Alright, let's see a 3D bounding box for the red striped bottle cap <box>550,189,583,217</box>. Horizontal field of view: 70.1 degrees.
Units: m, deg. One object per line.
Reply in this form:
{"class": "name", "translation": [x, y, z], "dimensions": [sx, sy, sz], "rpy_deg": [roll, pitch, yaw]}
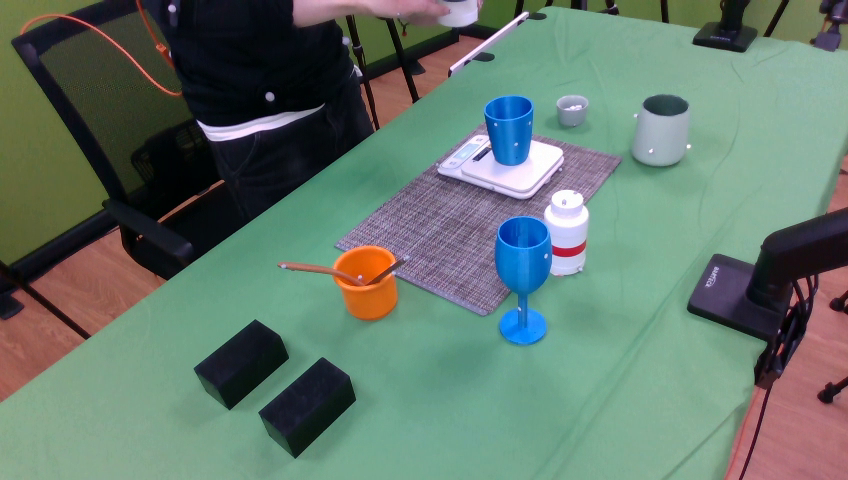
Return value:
{"class": "red striped bottle cap", "translation": [0.199, -0.052, 0.843], "dimensions": [0.044, 0.018, 0.044], "rpy_deg": [-2, 42, 2]}

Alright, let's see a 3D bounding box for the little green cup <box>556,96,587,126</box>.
{"class": "little green cup", "translation": [0.295, -0.258, 1.214], "dimensions": [0.061, 0.039, 0.061], "rpy_deg": [-4, 42, 4]}

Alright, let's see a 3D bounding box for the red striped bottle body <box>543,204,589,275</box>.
{"class": "red striped bottle body", "translation": [0.205, -0.011, 0.877], "dimensions": [0.063, 0.120, 0.062], "rpy_deg": [-4, 41, 4]}

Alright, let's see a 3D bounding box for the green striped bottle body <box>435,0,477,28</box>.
{"class": "green striped bottle body", "translation": [0.044, -0.376, 0.875], "dimensions": [0.063, 0.120, 0.063], "rpy_deg": [-3, 40, 3]}

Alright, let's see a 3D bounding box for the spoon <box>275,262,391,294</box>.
{"class": "spoon", "translation": [-0.120, 0.050, 0.830], "dimensions": [0.041, 0.195, 0.021], "rpy_deg": [32, 97, 45]}

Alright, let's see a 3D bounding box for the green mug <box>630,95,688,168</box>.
{"class": "green mug", "translation": [0.421, -0.201, 1.081], "dimensions": [0.092, 0.105, 0.125], "rpy_deg": [6, 42, 15]}

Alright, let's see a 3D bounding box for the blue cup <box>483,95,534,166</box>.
{"class": "blue cup", "translation": [0.150, -0.186, 1.051], "dimensions": [0.092, 0.101, 0.092], "rpy_deg": [-7, 40, 6]}

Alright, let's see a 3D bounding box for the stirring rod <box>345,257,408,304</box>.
{"class": "stirring rod", "translation": [-0.067, 0.057, 0.814], "dimensions": [0.014, 0.175, 0.006], "rpy_deg": [-25, 82, -38]}

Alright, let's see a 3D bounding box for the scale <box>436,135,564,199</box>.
{"class": "scale", "translation": [0.137, -0.142, 1.101], "dimensions": [0.199, 0.032, 0.149], "rpy_deg": [22, 48, 30]}

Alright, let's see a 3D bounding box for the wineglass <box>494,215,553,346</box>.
{"class": "wineglass", "translation": [0.127, 0.055, 0.770], "dimensions": [0.074, 0.173, 0.073], "rpy_deg": [-4, 40, 4]}
